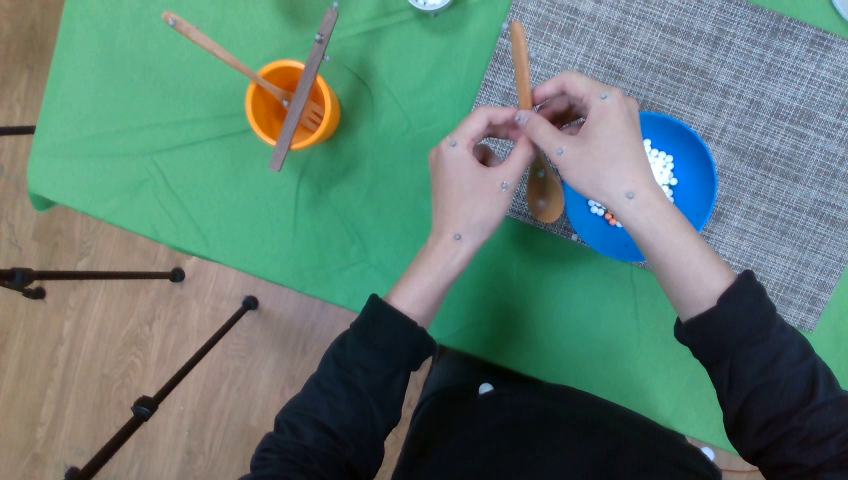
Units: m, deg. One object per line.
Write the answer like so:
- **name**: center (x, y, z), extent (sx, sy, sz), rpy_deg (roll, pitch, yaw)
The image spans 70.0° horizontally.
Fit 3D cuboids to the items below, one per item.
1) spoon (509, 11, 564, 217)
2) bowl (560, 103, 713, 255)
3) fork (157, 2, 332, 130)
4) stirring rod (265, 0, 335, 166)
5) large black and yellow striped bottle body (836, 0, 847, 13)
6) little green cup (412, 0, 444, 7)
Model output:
- **spoon**: center (0.095, -0.102, 0.532), extent (0.041, 0.021, 0.196), rpy_deg (13, 138, 35)
- **bowl**: center (0.215, -0.064, 0.640), extent (0.151, 0.076, 0.151), rpy_deg (1, 99, 5)
- **fork**: center (-0.177, -0.174, 0.623), extent (0.028, 0.018, 0.209), rpy_deg (-47, 136, 12)
- **stirring rod**: center (-0.127, -0.158, 0.619), extent (0.014, 0.006, 0.176), rpy_deg (23, 100, -1)
- **large black and yellow striped bottle body**: center (0.469, -0.274, 0.535), extent (0.130, 0.183, 0.131), rpy_deg (1, 99, 5)
- **little green cup**: center (0.003, -0.281, 0.646), extent (0.061, 0.038, 0.061), rpy_deg (1, 99, 6)
